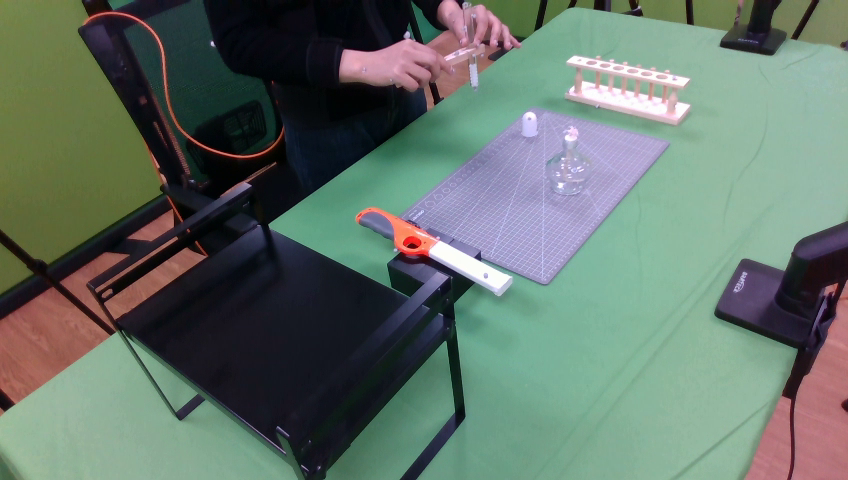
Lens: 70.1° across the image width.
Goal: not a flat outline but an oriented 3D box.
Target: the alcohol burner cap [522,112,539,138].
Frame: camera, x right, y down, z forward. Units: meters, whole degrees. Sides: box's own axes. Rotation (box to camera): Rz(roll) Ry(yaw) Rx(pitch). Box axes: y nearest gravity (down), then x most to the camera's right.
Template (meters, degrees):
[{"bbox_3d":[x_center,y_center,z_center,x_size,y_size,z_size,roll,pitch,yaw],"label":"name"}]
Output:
[{"bbox_3d":[0.210,-0.230,1.195,0.034,0.048,0.033,-5,41,5],"label":"alcohol burner cap"}]

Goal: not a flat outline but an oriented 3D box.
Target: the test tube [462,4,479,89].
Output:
[{"bbox_3d":[0.081,-0.332,1.047,0.017,0.151,0.017,-6,40,6],"label":"test tube"}]

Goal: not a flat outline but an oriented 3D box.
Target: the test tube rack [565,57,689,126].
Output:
[{"bbox_3d":[0.412,-0.311,1.230,0.240,0.085,0.067,24,49,32],"label":"test tube rack"}]

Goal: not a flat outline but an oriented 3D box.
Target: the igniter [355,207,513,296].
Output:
[{"bbox_3d":[0.006,0.010,0.885,0.274,0.025,0.057,27,53,30],"label":"igniter"}]

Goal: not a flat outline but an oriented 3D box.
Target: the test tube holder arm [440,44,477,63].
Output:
[{"bbox_3d":[0.061,-0.318,1.046,0.010,0.015,0.088,23,49,40],"label":"test tube holder arm"}]

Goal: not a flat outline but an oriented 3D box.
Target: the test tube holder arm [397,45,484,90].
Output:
[{"bbox_3d":[0.030,-0.294,1.023,0.179,0.015,0.013,-30,38,-22],"label":"test tube holder arm"}]

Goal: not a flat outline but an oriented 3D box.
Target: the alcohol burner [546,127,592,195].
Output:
[{"bbox_3d":[0.247,-0.137,1.024,0.078,0.119,0.077,-4,38,4],"label":"alcohol burner"}]
